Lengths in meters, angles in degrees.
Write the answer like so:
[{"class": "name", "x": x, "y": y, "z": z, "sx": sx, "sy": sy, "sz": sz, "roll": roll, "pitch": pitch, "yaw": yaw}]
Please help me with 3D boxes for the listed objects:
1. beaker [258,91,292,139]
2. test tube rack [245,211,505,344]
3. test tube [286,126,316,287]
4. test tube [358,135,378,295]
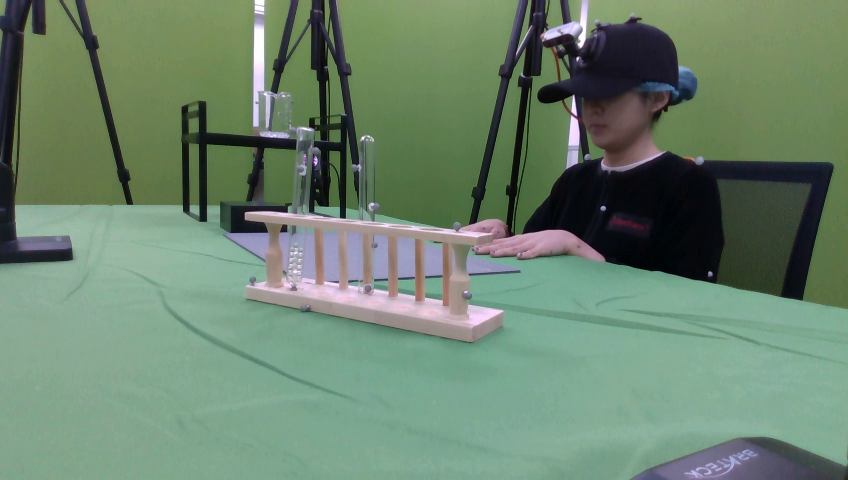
[{"class": "beaker", "x": -0.331, "y": -0.276, "z": 1.343, "sx": 0.074, "sy": 0.100, "sz": 0.083, "roll": 0, "pitch": 8, "yaw": -20}, {"class": "test tube rack", "x": -0.049, "y": 0.025, "z": 0.547, "sx": 0.241, "sy": 0.085, "sz": 0.067, "roll": 7, "pitch": 8, "yaw": 29}, {"class": "test tube", "x": -0.115, "y": -0.030, "z": 0.560, "sx": 0.017, "sy": 0.150, "sz": 0.017, "roll": 7, "pitch": 8, "yaw": -1}, {"class": "test tube", "x": -0.053, "y": -0.022, "z": 0.565, "sx": 0.017, "sy": 0.150, "sz": 0.017, "roll": 2, "pitch": 7, "yaw": 0}]
